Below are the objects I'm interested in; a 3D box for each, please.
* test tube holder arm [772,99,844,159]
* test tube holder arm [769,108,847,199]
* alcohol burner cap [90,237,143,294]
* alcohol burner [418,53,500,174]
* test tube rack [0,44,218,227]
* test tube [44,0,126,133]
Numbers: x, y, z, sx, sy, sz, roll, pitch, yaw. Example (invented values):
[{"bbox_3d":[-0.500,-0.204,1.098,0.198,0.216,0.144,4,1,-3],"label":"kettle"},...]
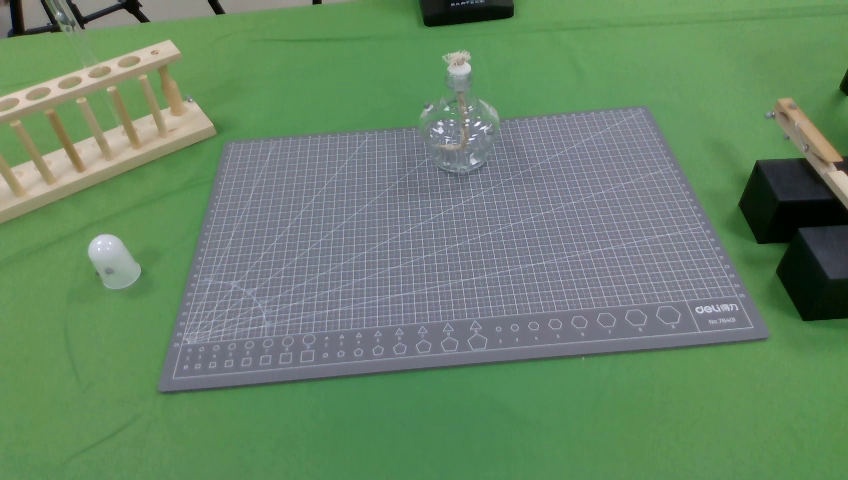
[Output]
[{"bbox_3d":[0.322,-0.092,0.510,0.015,0.010,0.087,-1,45,-6],"label":"test tube holder arm"},{"bbox_3d":[0.325,-0.057,0.482,0.015,0.013,0.176,-1,44,-5],"label":"test tube holder arm"},{"bbox_3d":[-0.262,0.019,0.511,0.034,0.048,0.033,-2,46,2],"label":"alcohol burner cap"},{"bbox_3d":[0.032,-0.121,0.565,0.078,0.120,0.077,-1,48,2],"label":"alcohol burner"},{"bbox_3d":[-0.343,-0.105,0.603,0.242,0.086,0.066,-29,51,-21],"label":"test tube rack"},{"bbox_3d":[-0.324,-0.168,0.593,0.017,0.152,0.017,-4,46,5],"label":"test tube"}]
